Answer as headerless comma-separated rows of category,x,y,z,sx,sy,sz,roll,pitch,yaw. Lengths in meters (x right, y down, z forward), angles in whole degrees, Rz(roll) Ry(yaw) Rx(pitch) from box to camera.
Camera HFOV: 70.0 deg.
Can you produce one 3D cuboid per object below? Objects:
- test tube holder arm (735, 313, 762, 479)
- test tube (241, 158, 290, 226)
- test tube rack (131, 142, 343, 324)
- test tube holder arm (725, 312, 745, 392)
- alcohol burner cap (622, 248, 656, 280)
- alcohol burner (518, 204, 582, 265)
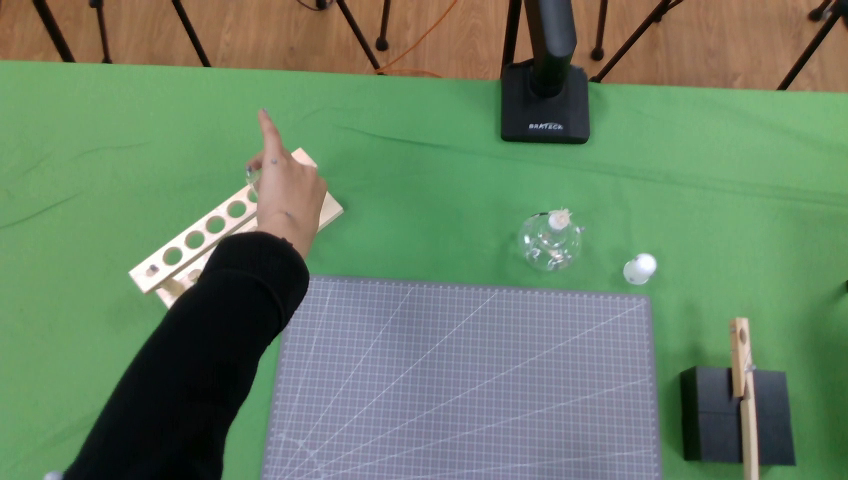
test tube holder arm,0.349,0.167,0.658,0.013,0.015,0.177,3,71,-4
test tube,-0.175,-0.050,0.674,0.017,0.151,0.017,-1,69,2
test tube rack,-0.219,-0.008,0.741,0.242,0.086,0.066,-39,74,-12
test tube holder arm,0.346,0.124,0.672,0.010,0.015,0.087,5,71,-3
alcohol burner cap,0.267,0.028,0.747,0.034,0.048,0.033,0,69,1
alcohol burner,0.154,-0.013,0.725,0.078,0.120,0.077,0,69,-1
